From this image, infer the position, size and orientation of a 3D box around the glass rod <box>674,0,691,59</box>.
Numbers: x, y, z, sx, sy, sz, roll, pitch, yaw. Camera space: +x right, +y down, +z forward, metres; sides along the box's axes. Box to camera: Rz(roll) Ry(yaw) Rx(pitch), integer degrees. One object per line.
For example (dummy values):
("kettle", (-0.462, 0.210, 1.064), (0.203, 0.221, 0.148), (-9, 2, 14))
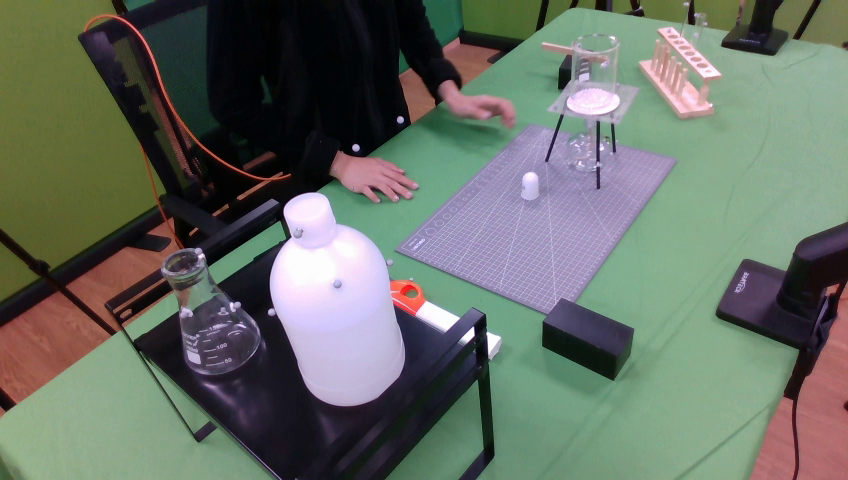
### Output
("glass rod", (0.537, -0.437, 1.257), (0.008, 0.200, 0.008), (0, 39, 1))

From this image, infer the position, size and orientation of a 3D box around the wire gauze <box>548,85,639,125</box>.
("wire gauze", (0.286, -0.233, 1.020), (0.124, 0.011, 0.122), (15, 43, 30))

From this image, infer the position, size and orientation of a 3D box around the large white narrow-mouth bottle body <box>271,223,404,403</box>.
("large white narrow-mouth bottle body", (-0.077, 0.048, 0.525), (0.102, 0.195, 0.101), (-5, 40, 5))

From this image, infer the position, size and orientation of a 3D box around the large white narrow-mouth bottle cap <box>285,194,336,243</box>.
("large white narrow-mouth bottle cap", (-0.087, -0.017, 0.468), (0.038, 0.024, 0.037), (-5, 40, 4))

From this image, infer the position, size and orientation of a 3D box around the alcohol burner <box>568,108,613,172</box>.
("alcohol burner", (0.296, -0.182, 1.074), (0.078, 0.119, 0.077), (-5, 43, 5))

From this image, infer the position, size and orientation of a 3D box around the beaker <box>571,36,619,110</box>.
("beaker", (0.281, -0.273, 0.992), (0.084, 0.101, 0.073), (-24, 42, -16))

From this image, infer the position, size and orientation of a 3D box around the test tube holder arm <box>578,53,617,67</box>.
("test tube holder arm", (0.376, -0.393, 1.314), (0.087, 0.015, 0.010), (26, 51, 32))

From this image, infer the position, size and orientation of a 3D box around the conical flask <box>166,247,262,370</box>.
("conical flask", (-0.209, 0.064, 0.585), (0.075, 0.122, 0.075), (-5, 40, 4))

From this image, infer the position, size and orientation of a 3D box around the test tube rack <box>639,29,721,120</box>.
("test tube rack", (0.527, -0.351, 1.262), (0.067, 0.085, 0.241), (-8, 40, 1))

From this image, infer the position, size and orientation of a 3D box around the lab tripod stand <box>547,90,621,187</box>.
("lab tripod stand", (0.289, -0.184, 1.062), (0.148, 0.132, 0.147), (-6, 41, 6))

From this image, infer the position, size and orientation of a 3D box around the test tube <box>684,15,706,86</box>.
("test tube", (0.541, -0.378, 1.216), (0.017, 0.151, 0.017), (-2, 44, 3))

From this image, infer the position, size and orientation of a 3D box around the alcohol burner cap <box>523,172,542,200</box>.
("alcohol burner cap", (0.186, -0.096, 1.047), (0.034, 0.048, 0.033), (-6, 37, 5))

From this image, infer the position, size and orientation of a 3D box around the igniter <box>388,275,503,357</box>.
("igniter", (-0.008, 0.093, 0.870), (0.274, 0.025, 0.057), (24, 60, 33))

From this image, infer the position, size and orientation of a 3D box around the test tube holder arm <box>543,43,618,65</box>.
("test tube holder arm", (0.344, -0.413, 1.341), (0.177, 0.015, 0.013), (25, 50, 31))
